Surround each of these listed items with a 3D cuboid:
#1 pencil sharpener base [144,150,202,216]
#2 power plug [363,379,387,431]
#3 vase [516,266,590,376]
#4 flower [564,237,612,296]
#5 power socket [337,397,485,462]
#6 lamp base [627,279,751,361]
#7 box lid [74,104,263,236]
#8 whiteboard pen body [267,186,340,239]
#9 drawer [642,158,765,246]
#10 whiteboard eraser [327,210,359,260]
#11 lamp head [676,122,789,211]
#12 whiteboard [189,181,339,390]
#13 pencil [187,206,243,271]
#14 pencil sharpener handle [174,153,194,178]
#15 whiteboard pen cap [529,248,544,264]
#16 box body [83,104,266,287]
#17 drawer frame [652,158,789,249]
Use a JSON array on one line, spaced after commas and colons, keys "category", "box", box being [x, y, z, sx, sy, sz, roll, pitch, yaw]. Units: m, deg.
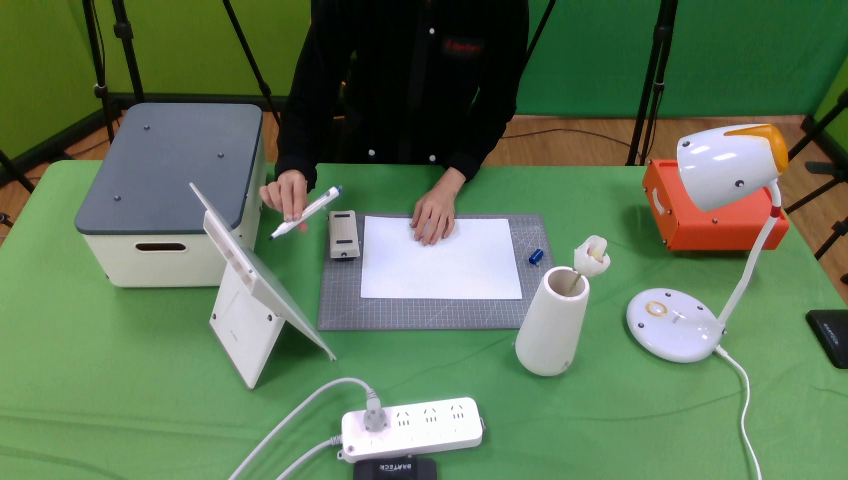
[{"category": "pencil sharpener base", "box": [-0.493, -0.113, 1.199, 0.061, 0.107, 0.076, 15, 47, 12]}, {"category": "power plug", "box": [-0.072, 0.252, 0.910, 0.035, 0.053, 0.072, 3, 45, -1]}, {"category": "vase", "box": [0.208, 0.132, 0.964, 0.098, 0.201, 0.097, 3, 46, -3]}, {"category": "flower", "box": [0.206, 0.088, 0.892, 0.038, 0.363, 0.044, -16, 67, -9]}, {"category": "power socket", "box": [-0.018, 0.285, 0.915, 0.227, 0.033, 0.071, -5, 46, -8]}, {"category": "lamp base", "box": [0.459, 0.100, 1.027, 0.178, 0.181, 0.160, 27, 51, 17]}, {"category": "box lid", "box": [-0.443, -0.139, 1.095, 0.263, 0.015, 0.369, -1, 45, -5]}, {"category": "whiteboard pen body", "box": [-0.188, -0.042, 0.947, 0.017, 0.017, 0.140, 37, 62, 27]}, {"category": "drawer", "box": [0.565, -0.076, 1.211, 0.212, 0.073, 0.193, 2, 45, -2]}, {"category": "whiteboard eraser", "box": [-0.158, -0.010, 1.177, 0.055, 0.042, 0.112, -6, 47, -7]}, {"category": "lamp head", "box": [0.423, -0.104, 0.819, 0.122, 0.113, 0.112, -13, 33, 40]}, {"category": "whiteboard", "box": [-0.292, 0.096, 0.929, 0.144, 0.307, 0.216, -37, 57, -10]}, {"category": "pencil", "box": [-0.401, -0.009, 1.176, 0.012, 0.012, 0.193, 15, 45, 10]}, {"category": "pencil sharpener handle", "box": [-0.479, -0.156, 1.225, 0.036, 0.068, 0.030, 24, 48, 2]}, {"category": "whiteboard pen cap", "box": [0.219, 0.032, 1.183, 0.018, 0.018, 0.033, 31, 50, 23]}, {"category": "box body", "box": [-0.447, -0.088, 1.150, 0.254, 0.161, 0.361, -1, 46, -5]}, {"category": "drawer frame", "box": [0.571, -0.075, 1.214, 0.214, 0.083, 0.200, 0, 45, -1]}]
